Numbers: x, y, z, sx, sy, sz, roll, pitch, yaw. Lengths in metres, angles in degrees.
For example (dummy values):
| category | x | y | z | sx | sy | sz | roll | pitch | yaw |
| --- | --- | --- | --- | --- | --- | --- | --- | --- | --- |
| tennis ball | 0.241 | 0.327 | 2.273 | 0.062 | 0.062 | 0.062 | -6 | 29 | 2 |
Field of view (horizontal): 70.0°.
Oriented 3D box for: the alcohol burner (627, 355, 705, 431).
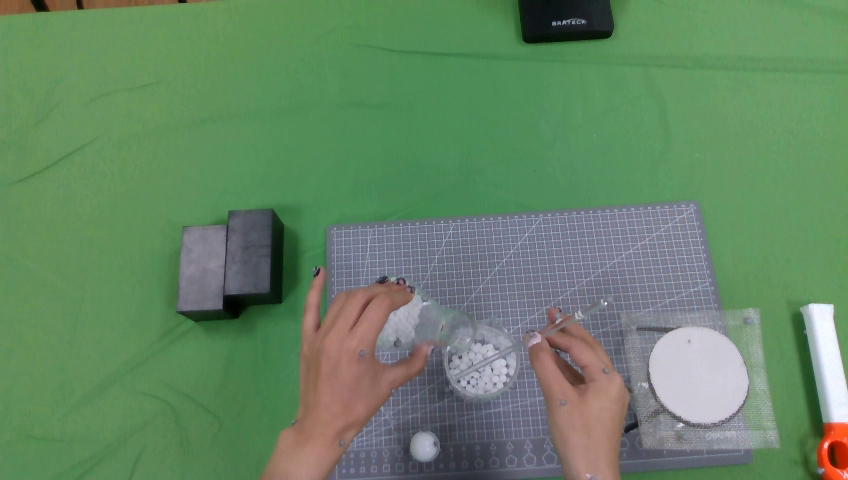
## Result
| category | x | y | z | sx | sy | sz | roll | pitch | yaw |
| --- | --- | --- | --- | --- | --- | --- | --- | --- | --- |
| alcohol burner | 0.247 | 0.152 | 0.608 | 0.078 | 0.120 | 0.077 | -1 | 72 | 4 |

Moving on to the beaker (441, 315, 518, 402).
| category | x | y | z | sx | sy | sz | roll | pitch | yaw |
| --- | --- | --- | --- | --- | --- | --- | --- | --- | --- |
| beaker | 0.057 | 0.126 | 0.629 | 0.074 | 0.101 | 0.083 | 18 | 72 | 8 |

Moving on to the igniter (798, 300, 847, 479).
| category | x | y | z | sx | sy | sz | roll | pitch | yaw |
| --- | --- | --- | --- | --- | --- | --- | --- | --- | --- |
| igniter | 0.434 | 0.200 | 0.636 | 0.057 | 0.025 | 0.274 | 4 | 72 | -9 |

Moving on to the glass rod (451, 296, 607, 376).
| category | x | y | z | sx | sy | sz | roll | pitch | yaw |
| --- | --- | --- | --- | --- | --- | --- | --- | --- | --- |
| glass rod | 0.085 | 0.090 | 0.540 | 0.008 | 0.200 | 0.008 | 20 | 52 | -28 |

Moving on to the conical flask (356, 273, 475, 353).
| category | x | y | z | sx | sy | sz | roll | pitch | yaw |
| --- | --- | --- | --- | --- | --- | --- | --- | --- | --- |
| conical flask | -0.004 | 0.072 | 0.547 | 0.076 | 0.121 | 0.075 | -2 | 94 | -33 |

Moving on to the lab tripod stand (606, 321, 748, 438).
| category | x | y | z | sx | sy | sz | roll | pitch | yaw |
| --- | --- | --- | --- | --- | --- | --- | --- | --- | --- |
| lab tripod stand | 0.245 | 0.142 | 0.601 | 0.148 | 0.132 | 0.147 | 0 | 73 | 2 |

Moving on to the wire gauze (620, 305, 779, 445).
| category | x | y | z | sx | sy | sz | roll | pitch | yaw |
| --- | --- | --- | --- | --- | --- | --- | --- | --- | --- |
| wire gauze | 0.243 | 0.119 | 0.537 | 0.125 | 0.011 | 0.120 | -1 | 73 | 2 |

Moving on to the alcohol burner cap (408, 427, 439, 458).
| category | x | y | z | sx | sy | sz | roll | pitch | yaw |
| --- | --- | --- | --- | --- | --- | --- | --- | --- | --- |
| alcohol burner cap | -0.001 | 0.212 | 0.633 | 0.034 | 0.048 | 0.033 | 0 | 72 | 2 |
